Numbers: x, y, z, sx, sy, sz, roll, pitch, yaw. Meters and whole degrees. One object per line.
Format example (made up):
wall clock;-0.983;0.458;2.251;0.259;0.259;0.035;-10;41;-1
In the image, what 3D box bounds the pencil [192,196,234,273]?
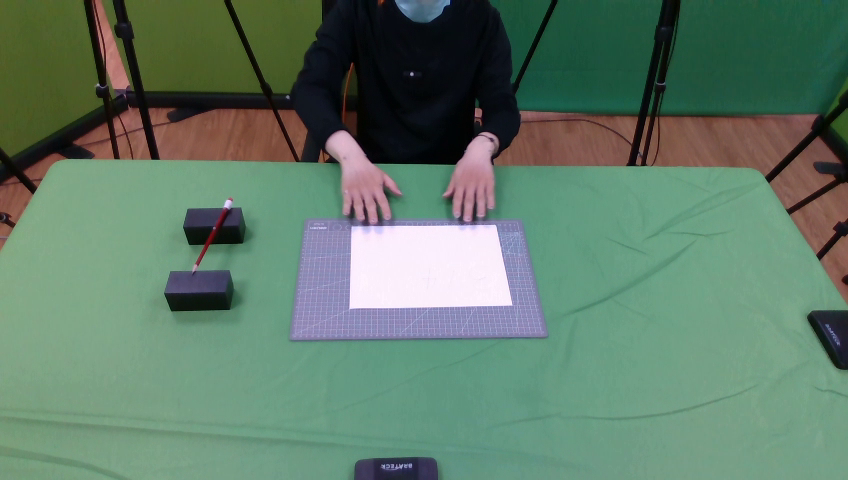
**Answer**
pencil;-0.389;-0.013;1.118;0.012;0.012;0.193;8;48;4
